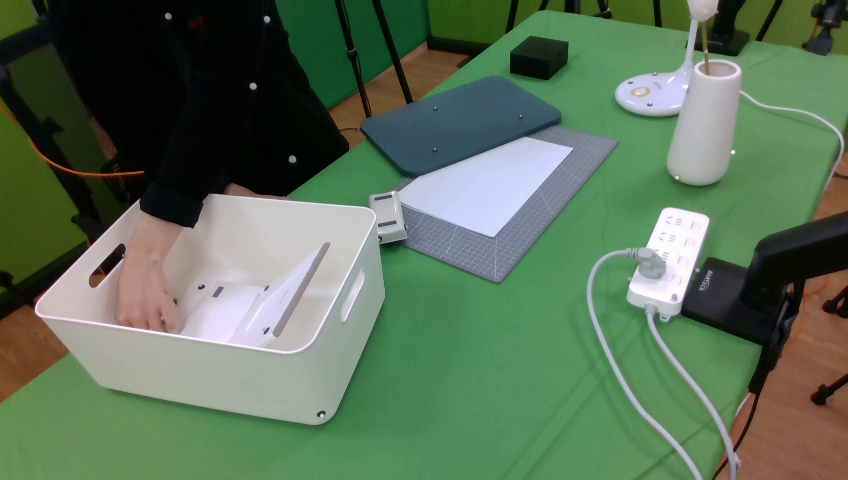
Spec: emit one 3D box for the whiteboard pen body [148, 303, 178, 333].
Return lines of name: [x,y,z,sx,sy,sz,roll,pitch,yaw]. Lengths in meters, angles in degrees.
whiteboard pen body: [-0.399,0.144,0.869,0.017,0.017,0.140,7,43,16]

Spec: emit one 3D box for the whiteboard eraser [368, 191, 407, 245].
whiteboard eraser: [-0.061,-0.035,1.005,0.056,0.042,0.112,-9,40,-4]

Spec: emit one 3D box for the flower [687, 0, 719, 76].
flower: [0.436,-0.242,0.934,0.038,0.364,0.043,-24,49,8]

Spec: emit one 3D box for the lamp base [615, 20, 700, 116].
lamp base: [0.484,-0.364,1.211,0.180,0.181,0.159,-15,41,-14]

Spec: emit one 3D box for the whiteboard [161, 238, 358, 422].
whiteboard: [-0.242,0.094,0.809,0.304,0.144,0.216,4,45,13]

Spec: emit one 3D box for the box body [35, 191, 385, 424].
box body: [-0.254,0.082,0.807,0.363,0.161,0.253,5,42,14]

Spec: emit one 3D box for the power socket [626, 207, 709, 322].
power socket: [0.360,0.026,0.886,0.072,0.033,0.227,17,46,27]

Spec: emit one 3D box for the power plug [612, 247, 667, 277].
power plug: [0.306,0.031,0.852,0.072,0.053,0.035,21,48,38]

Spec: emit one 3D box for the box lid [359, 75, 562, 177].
box lid: [0.074,-0.249,1.267,0.373,0.015,0.261,-23,42,-18]

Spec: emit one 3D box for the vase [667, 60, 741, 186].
vase: [0.463,-0.189,0.994,0.098,0.201,0.097,-4,40,4]

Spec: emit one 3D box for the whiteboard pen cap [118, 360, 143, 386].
whiteboard pen cap: [-0.400,0.182,0.826,0.018,0.018,0.033,8,43,16]
